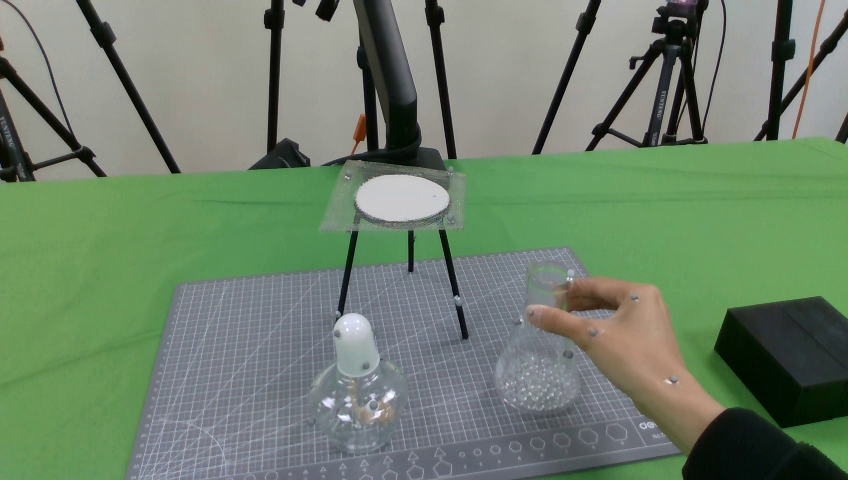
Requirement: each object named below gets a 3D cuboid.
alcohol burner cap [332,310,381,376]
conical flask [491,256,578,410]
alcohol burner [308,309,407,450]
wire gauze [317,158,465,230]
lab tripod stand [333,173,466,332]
[{"bbox_3d":[-0.051,0.073,0.446,0.034,0.048,0.033,-4,37,3],"label":"alcohol burner cap"},{"bbox_3d":[0.096,0.073,0.499,0.075,0.123,0.074,1,31,0],"label":"conical flask"},{"bbox_3d":[-0.052,0.103,0.467,0.078,0.120,0.077,0,32,0],"label":"alcohol burner"},{"bbox_3d":[-0.024,-0.042,0.549,0.121,0.011,0.124,4,34,3],"label":"wire gauze"},{"bbox_3d":[-0.018,0.014,0.586,0.148,0.132,0.147,2,33,-1],"label":"lab tripod stand"}]
